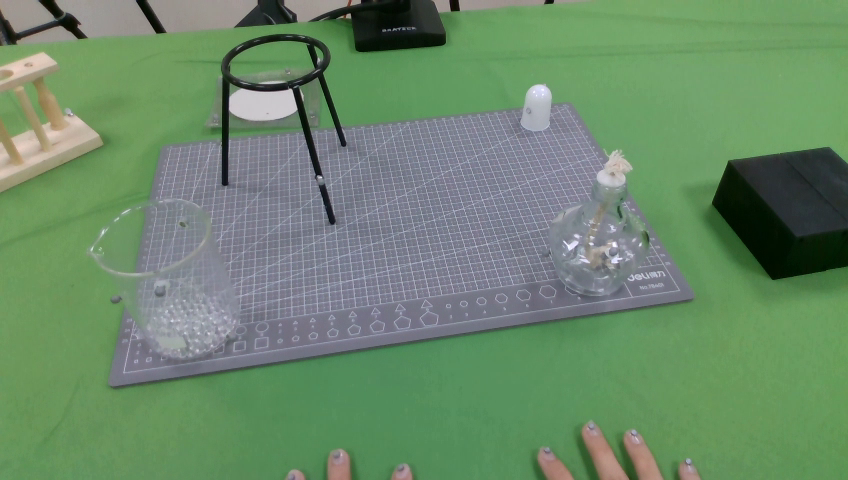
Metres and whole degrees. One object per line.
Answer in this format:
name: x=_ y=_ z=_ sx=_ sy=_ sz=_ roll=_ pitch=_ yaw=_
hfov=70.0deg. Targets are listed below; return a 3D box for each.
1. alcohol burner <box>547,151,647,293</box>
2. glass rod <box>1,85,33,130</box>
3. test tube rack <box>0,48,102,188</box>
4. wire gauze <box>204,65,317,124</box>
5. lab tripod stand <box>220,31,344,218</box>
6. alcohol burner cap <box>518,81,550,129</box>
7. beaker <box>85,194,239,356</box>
alcohol burner: x=0.135 y=-0.016 z=0.466 sx=0.078 sy=0.120 sz=0.077 roll=0 pitch=43 yaw=1
glass rod: x=-0.422 y=-0.181 z=0.568 sx=0.008 sy=0.202 sz=0.008 roll=-6 pitch=46 yaw=7
test tube rack: x=-0.448 y=-0.088 z=0.568 sx=0.066 sy=0.086 sz=0.242 roll=33 pitch=54 yaw=29
wire gauze: x=-0.186 y=-0.168 z=0.702 sx=0.125 sy=0.011 sz=0.120 roll=-5 pitch=44 yaw=-3
lab tripod stand: x=-0.126 y=-0.106 z=0.545 sx=0.148 sy=0.133 sz=0.147 roll=-1 pitch=47 yaw=1
alcohol burner cap: x=0.119 y=-0.147 z=0.649 sx=0.034 sy=0.048 sz=0.033 roll=0 pitch=45 yaw=0
beaker: x=-0.181 y=0.029 z=0.434 sx=0.084 sy=0.101 sz=0.073 roll=-10 pitch=45 yaw=-7
